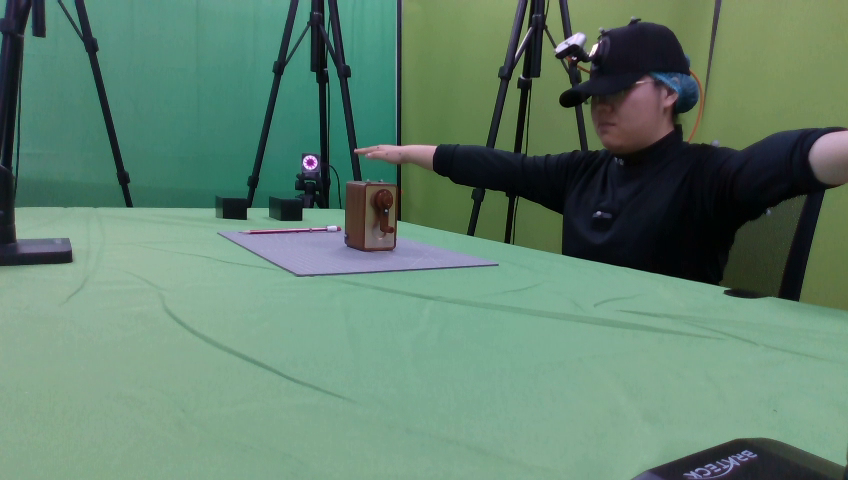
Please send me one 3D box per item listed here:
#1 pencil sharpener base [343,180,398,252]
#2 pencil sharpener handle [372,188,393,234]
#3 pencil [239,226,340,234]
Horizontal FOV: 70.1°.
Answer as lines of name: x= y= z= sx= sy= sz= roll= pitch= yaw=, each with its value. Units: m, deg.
pencil sharpener base: x=-0.085 y=-0.038 z=0.956 sx=0.062 sy=0.107 sz=0.076 roll=-1 pitch=9 yaw=-33
pencil sharpener handle: x=-0.057 y=-0.044 z=0.912 sx=0.036 sy=0.067 sz=0.030 roll=-2 pitch=9 yaw=-33
pencil: x=-0.245 y=-0.018 z=1.120 sx=0.195 sy=0.012 sz=0.012 roll=-3 pitch=9 yaw=-34
